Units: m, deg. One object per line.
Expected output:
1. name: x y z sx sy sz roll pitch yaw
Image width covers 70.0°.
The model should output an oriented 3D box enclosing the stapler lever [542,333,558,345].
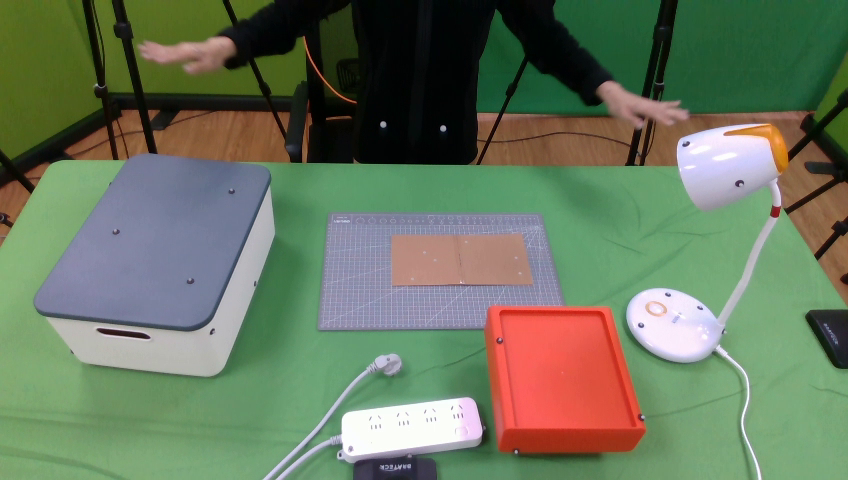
1. stapler lever: 0.225 0.181 0.928 0.118 0.040 0.027 27 34 15

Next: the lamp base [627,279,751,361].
1. lamp base: 0.460 0.100 1.027 0.178 0.181 0.160 27 51 17

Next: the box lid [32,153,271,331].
1. box lid: -0.417 -0.015 0.980 0.263 0.015 0.369 6 46 1

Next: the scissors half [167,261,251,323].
1. scissors half: -0.383 0.091 1.080 0.040 0.013 0.175 25 52 30

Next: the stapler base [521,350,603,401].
1. stapler base: 0.217 0.203 0.942 0.130 0.024 0.041 26 33 16

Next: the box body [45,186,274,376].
1. box body: -0.421 0.037 1.031 0.254 0.161 0.362 6 46 1

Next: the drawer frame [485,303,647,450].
1. drawer frame: 0.204 0.202 0.917 0.202 0.083 0.212 1 47 -4

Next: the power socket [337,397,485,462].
1. power socket: -0.018 0.285 0.915 0.227 0.033 0.071 -4 46 -8

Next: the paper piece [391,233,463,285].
1. paper piece: 0.003 0.035 1.170 0.135 0.004 0.135 1 46 -4

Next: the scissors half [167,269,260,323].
1. scissors half: -0.369 0.101 1.069 0.175 0.013 0.040 -28 52 -22

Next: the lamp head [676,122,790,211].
1. lamp head: 0.423 -0.104 0.819 0.122 0.113 0.112 -13 33 40

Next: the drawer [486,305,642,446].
1. drawer: 0.202 0.200 0.919 0.195 0.073 0.210 2 47 -4

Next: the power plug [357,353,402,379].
1. power plug: -0.071 0.207 0.983 0.072 0.053 0.035 -20 51 4

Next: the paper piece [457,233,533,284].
1. paper piece: 0.136 0.035 1.182 0.136 0.009 0.137 2 45 -7
